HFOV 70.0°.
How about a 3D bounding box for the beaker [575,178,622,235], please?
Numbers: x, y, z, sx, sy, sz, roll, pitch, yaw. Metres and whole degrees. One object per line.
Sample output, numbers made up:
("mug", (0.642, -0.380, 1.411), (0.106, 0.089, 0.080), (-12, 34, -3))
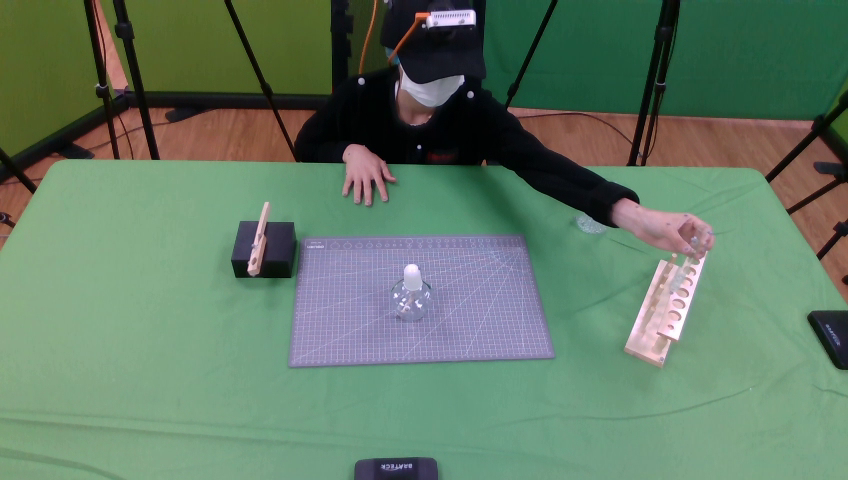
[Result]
("beaker", (0.356, -0.068, 1.239), (0.084, 0.101, 0.073), (-18, 50, -21))

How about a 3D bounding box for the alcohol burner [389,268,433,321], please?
("alcohol burner", (-0.022, 0.086, 1.046), (0.078, 0.119, 0.077), (2, 48, -2))

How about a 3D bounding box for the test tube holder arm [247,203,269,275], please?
("test tube holder arm", (-0.304, -0.006, 1.116), (0.013, 0.015, 0.177), (-5, 45, 2))

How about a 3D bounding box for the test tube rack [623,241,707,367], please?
("test tube rack", (0.435, 0.104, 1.089), (0.066, 0.085, 0.242), (24, 49, 18))

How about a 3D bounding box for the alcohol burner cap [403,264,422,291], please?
("alcohol burner cap", (-0.021, 0.060, 1.021), (0.034, 0.048, 0.033), (-1, 47, 2))

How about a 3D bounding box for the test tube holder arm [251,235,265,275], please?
("test tube holder arm", (-0.297, 0.026, 1.085), (0.010, 0.015, 0.087), (-5, 45, 2))

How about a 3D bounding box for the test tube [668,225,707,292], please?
("test tube", (0.419, 0.032, 0.969), (0.017, 0.151, 0.017), (1, 46, -1))
